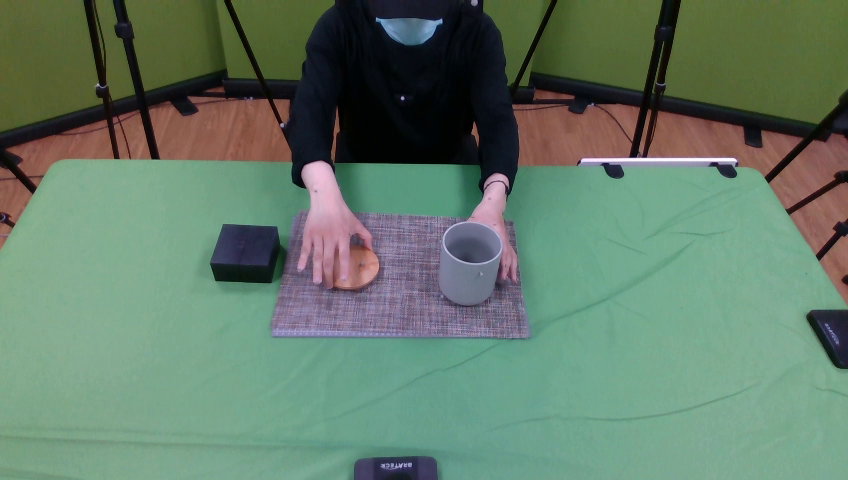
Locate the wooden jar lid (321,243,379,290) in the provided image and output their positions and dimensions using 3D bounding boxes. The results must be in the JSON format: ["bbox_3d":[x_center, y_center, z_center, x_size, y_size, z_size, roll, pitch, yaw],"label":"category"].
[{"bbox_3d":[-0.137,0.052,1.132,0.108,0.021,0.107,1,46,-1],"label":"wooden jar lid"}]

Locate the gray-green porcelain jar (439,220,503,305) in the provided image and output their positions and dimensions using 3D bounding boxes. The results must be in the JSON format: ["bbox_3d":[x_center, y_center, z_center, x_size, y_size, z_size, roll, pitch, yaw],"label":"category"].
[{"bbox_3d":[0.080,0.046,1.078,0.106,0.127,0.105,2,46,-2],"label":"gray-green porcelain jar"}]
